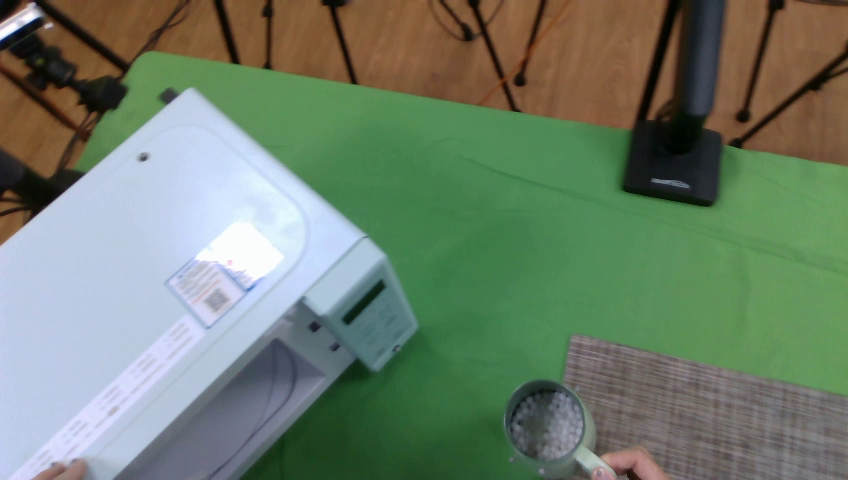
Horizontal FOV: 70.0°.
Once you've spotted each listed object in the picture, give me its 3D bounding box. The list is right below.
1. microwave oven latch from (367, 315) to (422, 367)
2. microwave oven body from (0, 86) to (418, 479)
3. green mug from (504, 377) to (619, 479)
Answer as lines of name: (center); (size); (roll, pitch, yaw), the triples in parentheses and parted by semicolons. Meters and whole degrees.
microwave oven latch: (-0.038, 0.118, 0.740); (0.079, 0.030, 0.030); (-44, 69, -11)
microwave oven body: (-0.278, 0.113, 0.666); (0.323, 0.262, 0.441); (40, 77, 21)
green mug: (0.140, 0.198, 0.608); (0.124, 0.106, 0.092); (36, 80, 27)
